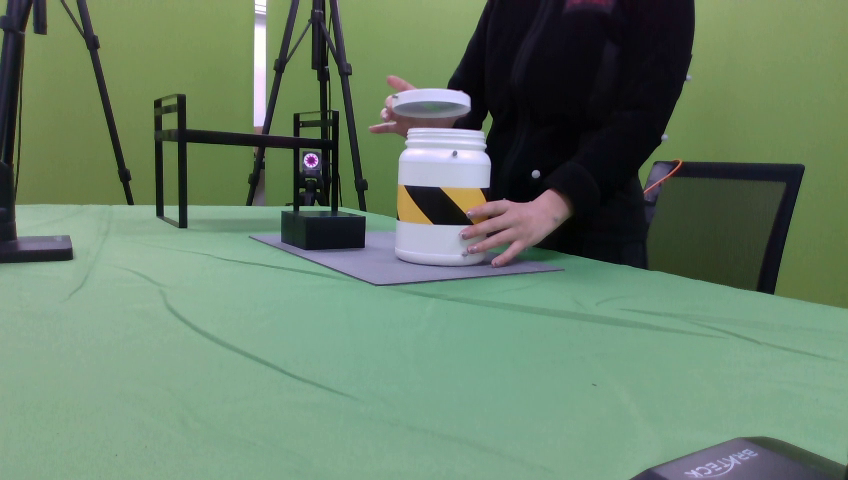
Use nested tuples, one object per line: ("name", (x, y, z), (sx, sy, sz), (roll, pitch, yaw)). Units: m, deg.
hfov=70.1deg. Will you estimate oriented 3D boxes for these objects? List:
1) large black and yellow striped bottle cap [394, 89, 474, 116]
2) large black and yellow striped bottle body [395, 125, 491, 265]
("large black and yellow striped bottle cap", (0.014, -0.197, 0.870), (0.115, 0.019, 0.115), (-2, 1, 0))
("large black and yellow striped bottle body", (0.027, -0.064, 0.849), (0.131, 0.184, 0.130), (2, 7, 0))
